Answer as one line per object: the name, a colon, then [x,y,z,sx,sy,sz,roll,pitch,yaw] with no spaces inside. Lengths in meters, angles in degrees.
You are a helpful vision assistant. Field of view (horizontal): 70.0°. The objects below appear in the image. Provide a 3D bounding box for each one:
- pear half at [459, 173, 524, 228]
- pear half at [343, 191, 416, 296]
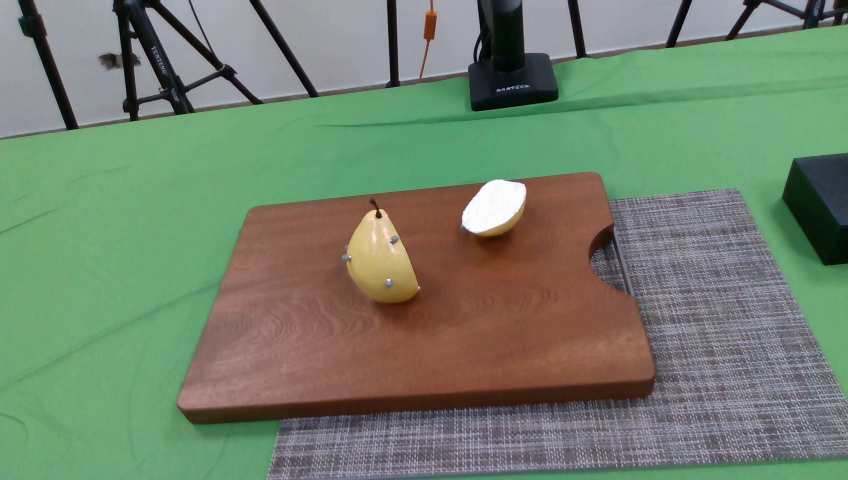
pear half: [0.072,-0.036,0.609,0.070,0.031,0.087,-18,27,17]
pear half: [-0.047,0.004,0.540,0.056,0.111,0.075,-27,42,-14]
